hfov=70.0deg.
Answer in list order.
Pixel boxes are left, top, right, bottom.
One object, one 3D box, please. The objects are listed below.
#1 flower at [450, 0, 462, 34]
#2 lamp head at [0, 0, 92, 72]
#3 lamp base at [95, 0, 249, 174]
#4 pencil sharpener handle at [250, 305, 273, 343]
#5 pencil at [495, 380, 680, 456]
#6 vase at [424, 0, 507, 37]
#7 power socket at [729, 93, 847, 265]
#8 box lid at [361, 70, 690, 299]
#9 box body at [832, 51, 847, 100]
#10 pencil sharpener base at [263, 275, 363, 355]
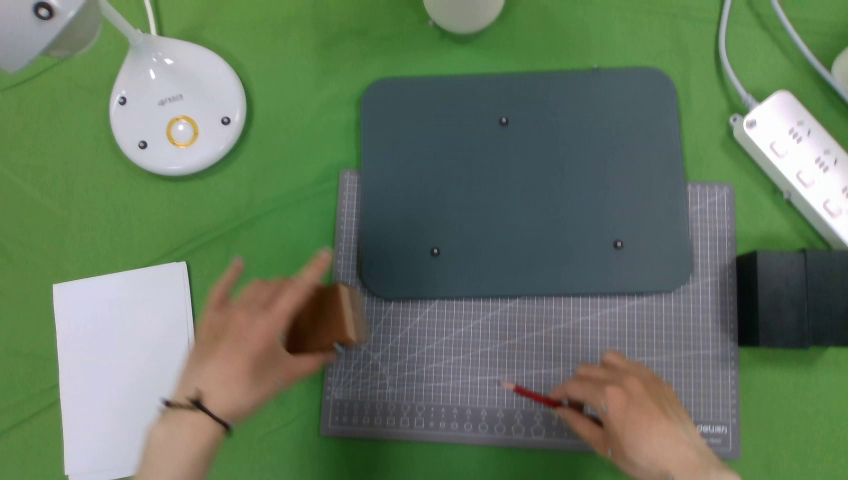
[{"bbox_3d":[0.054,-0.329,0.561,0.044,0.364,0.038,-23,68,-18],"label":"flower"},{"bbox_3d":[-0.268,-0.183,0.362,0.112,0.124,0.111,-24,44,26],"label":"lamp head"},{"bbox_3d":[-0.296,-0.179,0.641,0.160,0.181,0.178,-28,78,-3],"label":"lamp base"},{"bbox_3d":[-0.157,0.087,0.583,0.030,0.068,0.035,-12,70,0],"label":"pencil sharpener handle"},{"bbox_3d":[0.159,0.172,0.591,0.194,0.012,0.012,22,82,-2],"label":"pencil"},{"bbox_3d":[0.047,-0.302,0.640,0.098,0.200,0.098,0,79,1],"label":"vase"},{"bbox_3d":[0.440,-0.066,0.673,0.072,0.033,0.226,-37,81,-4],"label":"power socket"},{"bbox_3d":[0.112,-0.066,0.694,0.371,0.015,0.262,-2,81,2],"label":"box lid"},{"bbox_3d":[0.655,-0.150,0.614,0.254,0.161,0.363,-41,82,-5],"label":"box body"},{"bbox_3d":[-0.108,0.075,0.596,0.077,0.107,0.061,-12,83,0],"label":"pencil sharpener base"}]
